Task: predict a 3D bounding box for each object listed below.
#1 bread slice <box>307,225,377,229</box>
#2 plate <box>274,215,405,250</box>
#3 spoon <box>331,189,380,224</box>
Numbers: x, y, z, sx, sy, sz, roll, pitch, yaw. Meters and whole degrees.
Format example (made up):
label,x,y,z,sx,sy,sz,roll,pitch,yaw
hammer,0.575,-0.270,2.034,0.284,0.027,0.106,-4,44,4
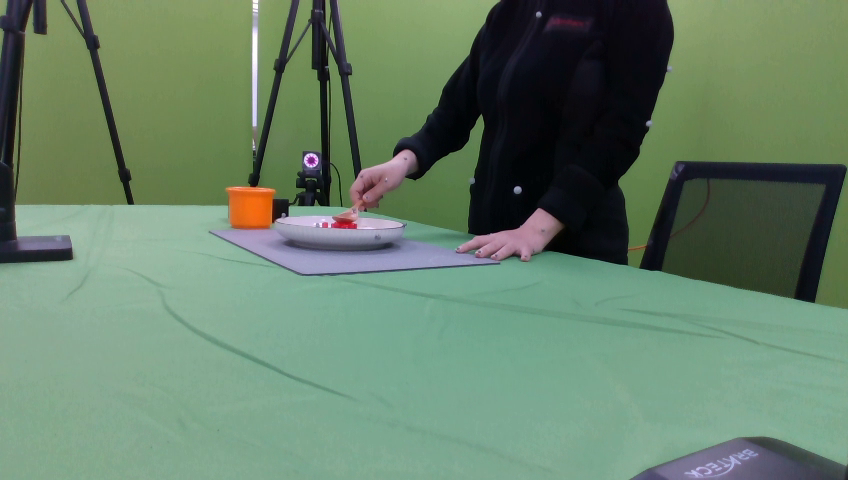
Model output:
label,x,y,z,sx,sy,sz,roll,pitch,yaw
bread slice,-0.133,-0.011,0.974,0.135,0.018,0.106,-3,8,-33
plate,-0.136,-0.013,0.981,0.209,0.038,0.209,2,7,0
spoon,-0.112,-0.063,1.062,0.041,0.021,0.194,5,24,15
